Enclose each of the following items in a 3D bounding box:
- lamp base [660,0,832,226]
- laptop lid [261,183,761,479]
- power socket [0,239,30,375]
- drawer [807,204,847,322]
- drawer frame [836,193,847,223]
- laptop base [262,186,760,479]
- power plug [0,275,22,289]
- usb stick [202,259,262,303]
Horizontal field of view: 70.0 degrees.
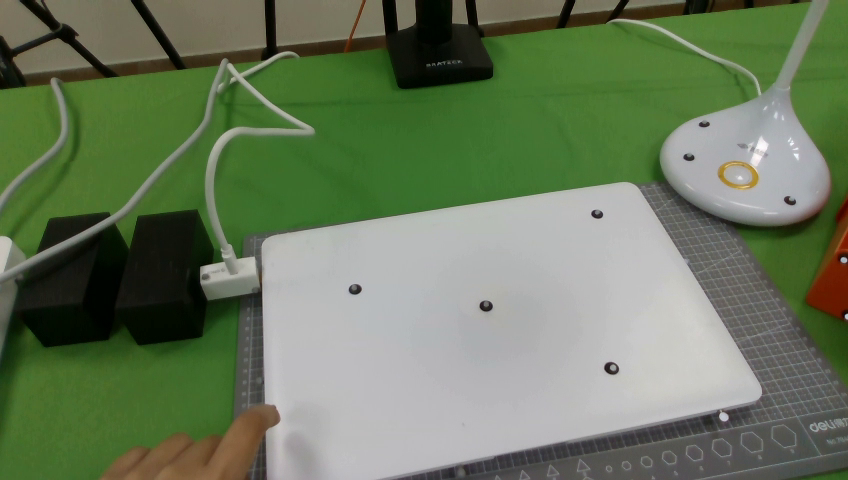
[{"bbox_3d":[0.322,-0.133,0.558,0.159,0.182,0.178,21,47,20],"label":"lamp base"},{"bbox_3d":[0.051,0.057,0.482,0.357,0.013,0.239,-8,50,-6],"label":"laptop lid"},{"bbox_3d":[-0.369,0.085,0.473,0.072,0.033,0.224,-10,47,-9],"label":"power socket"},{"bbox_3d":[0.452,0.011,0.492,0.193,0.074,0.211,28,55,26],"label":"drawer"},{"bbox_3d":[0.519,-0.057,0.548,0.200,0.083,0.213,28,54,26],"label":"drawer frame"},{"bbox_3d":[0.051,0.064,0.492,0.355,0.023,0.233,-9,51,-7],"label":"laptop base"},{"bbox_3d":[-0.343,0.057,0.467,0.072,0.053,0.035,-2,47,-1],"label":"power plug"},{"bbox_3d":[-0.153,0.033,0.508,0.059,0.027,0.021,-9,46,-13],"label":"usb stick"}]
